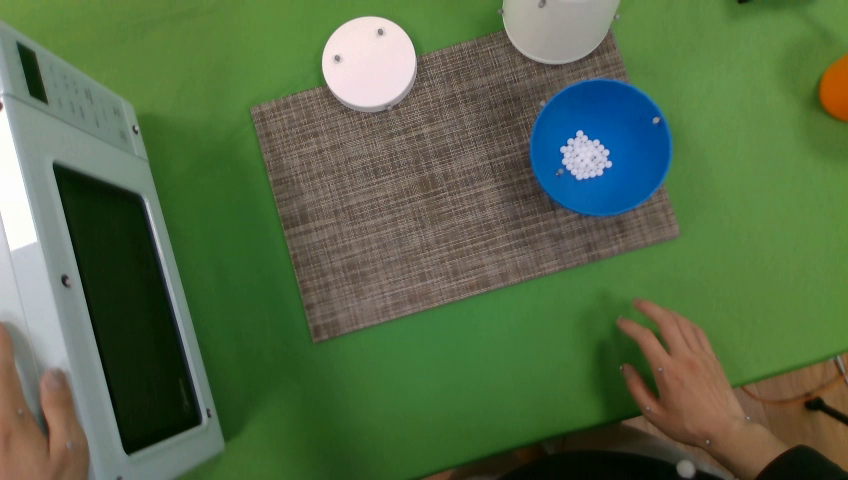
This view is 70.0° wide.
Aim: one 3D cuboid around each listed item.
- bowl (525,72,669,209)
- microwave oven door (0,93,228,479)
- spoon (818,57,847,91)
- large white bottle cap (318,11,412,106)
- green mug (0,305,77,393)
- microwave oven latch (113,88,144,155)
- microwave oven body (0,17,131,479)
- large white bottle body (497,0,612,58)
[{"bbox_3d":[0.186,-0.104,0.684,0.151,0.077,0.151,0,85,3],"label":"bowl"},{"bbox_3d":[-0.300,0.060,0.596,0.039,0.244,0.355,-19,84,1],"label":"microwave oven door"},{"bbox_3d":[0.530,-0.181,0.643,0.022,0.192,0.041,27,81,-39],"label":"spoon"},{"bbox_3d":[-0.071,-0.221,0.736,0.115,0.018,0.114,0,84,2],"label":"large white bottle cap"},{"bbox_3d":[-0.423,0.104,0.625,0.125,0.105,0.092,-32,88,-7],"label":"green mug"},{"bbox_3d":[-0.360,-0.137,0.718,0.030,0.029,0.079,-18,85,0],"label":"microwave oven latch"},{"bbox_3d":[-0.452,0.067,0.607,0.326,0.260,0.440,-18,85,0],"label":"microwave oven body"},{"bbox_3d":[0.146,-0.295,0.648,0.130,0.185,0.130,-1,81,4],"label":"large white bottle body"}]
